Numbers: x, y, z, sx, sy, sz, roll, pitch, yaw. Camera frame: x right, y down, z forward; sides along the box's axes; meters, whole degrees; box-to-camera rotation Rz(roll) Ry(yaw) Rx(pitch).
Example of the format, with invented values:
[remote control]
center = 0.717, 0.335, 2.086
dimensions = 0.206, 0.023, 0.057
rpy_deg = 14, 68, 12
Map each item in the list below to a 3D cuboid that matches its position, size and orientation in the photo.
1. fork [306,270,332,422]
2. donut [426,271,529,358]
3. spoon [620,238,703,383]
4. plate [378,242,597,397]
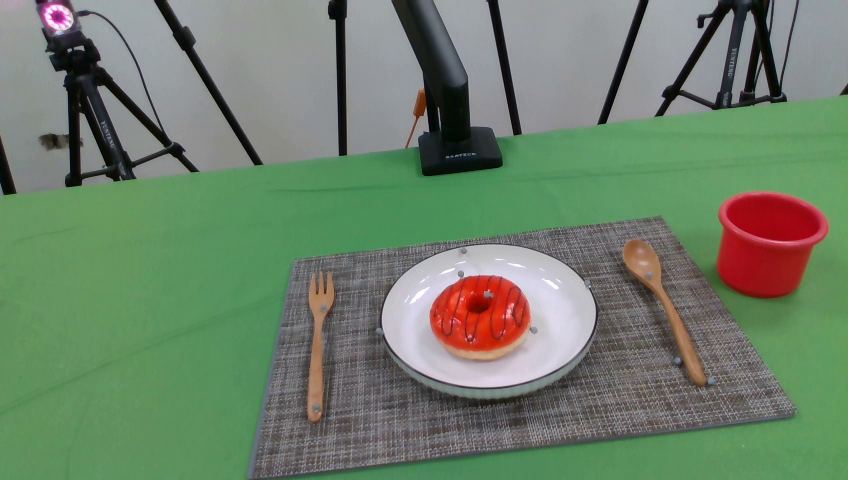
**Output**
[fork]
center = -0.107, 0.097, 0.608
dimensions = 0.028, 0.019, 0.205
rpy_deg = -2, 33, -6
[donut]
center = 0.051, 0.071, 0.582
dimensions = 0.099, 0.049, 0.098
rpy_deg = -5, 38, 5
[spoon]
center = 0.234, 0.061, 0.596
dimensions = 0.042, 0.022, 0.192
rpy_deg = 9, 34, -8
[plate]
center = 0.061, 0.076, 0.592
dimensions = 0.209, 0.038, 0.207
rpy_deg = -4, 35, 3
